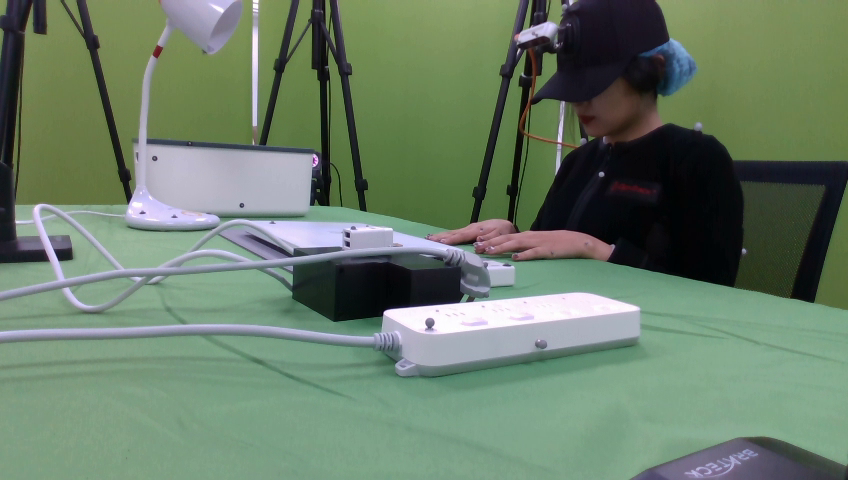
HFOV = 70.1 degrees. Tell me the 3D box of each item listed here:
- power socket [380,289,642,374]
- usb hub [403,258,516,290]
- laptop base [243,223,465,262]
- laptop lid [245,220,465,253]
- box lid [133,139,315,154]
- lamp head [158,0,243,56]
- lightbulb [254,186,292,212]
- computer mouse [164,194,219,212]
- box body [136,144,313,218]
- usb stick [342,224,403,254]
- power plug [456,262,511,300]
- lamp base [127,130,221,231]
[{"bbox_3d":[0.072,0.064,0.461,0.228,0.032,0.072,-2,8,-30],"label":"power socket"},{"bbox_3d":[0.042,0.038,0.690,0.126,0.025,0.049,-2,10,-30],"label":"usb hub"},{"bbox_3d":[-0.126,0.003,0.946,0.237,0.023,0.352,2,6,-31],"label":"laptop base"},{"bbox_3d":[-0.124,-0.009,0.945,0.243,0.013,0.355,1,7,-29],"label":"laptop lid"},{"bbox_3d":[-0.466,-0.215,1.407,0.373,0.015,0.262,-1,8,-31],"label":"box lid"},{"bbox_3d":[-0.398,-0.397,1.057,0.123,0.112,0.112,27,5,-7],"label":"lamp head"},{"bbox_3d":[-0.370,-0.094,1.492,0.059,0.059,0.108,8,-11,39],"label":"lightbulb"},{"bbox_3d":[-0.532,-0.084,1.387,0.118,0.041,0.062,2,3,-31],"label":"computer mouse"},{"bbox_3d":[-0.467,-0.141,1.417,0.366,0.160,0.253,-2,8,-31],"label":"box body"},{"bbox_3d":[-0.047,-0.001,0.567,0.059,0.027,0.021,0,5,-32],"label":"usb stick"},{"bbox_3d":[0.051,0.050,0.543,0.035,0.052,0.072,7,37,-19],"label":"power plug"},{"bbox_3d":[-0.469,-0.112,1.108,0.179,0.180,0.160,0,7,3],"label":"lamp base"}]
